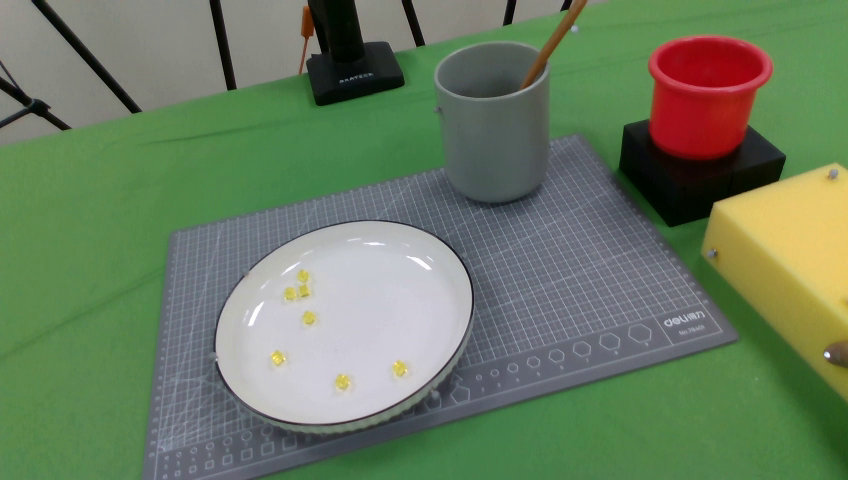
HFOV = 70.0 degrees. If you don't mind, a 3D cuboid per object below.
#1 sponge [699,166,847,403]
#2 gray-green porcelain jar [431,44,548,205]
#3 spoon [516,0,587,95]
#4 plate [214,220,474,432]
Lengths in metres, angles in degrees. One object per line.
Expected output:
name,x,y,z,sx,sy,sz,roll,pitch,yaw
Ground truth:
sponge,0.320,0.039,0.439,0.118,0.061,0.204,-19,44,-9
gray-green porcelain jar,0.066,-0.106,0.583,0.106,0.128,0.105,-5,44,6
spoon,0.092,-0.133,0.553,0.022,0.195,0.041,18,37,-11
plate,-0.062,0.065,0.493,0.207,0.039,0.205,-5,44,5
